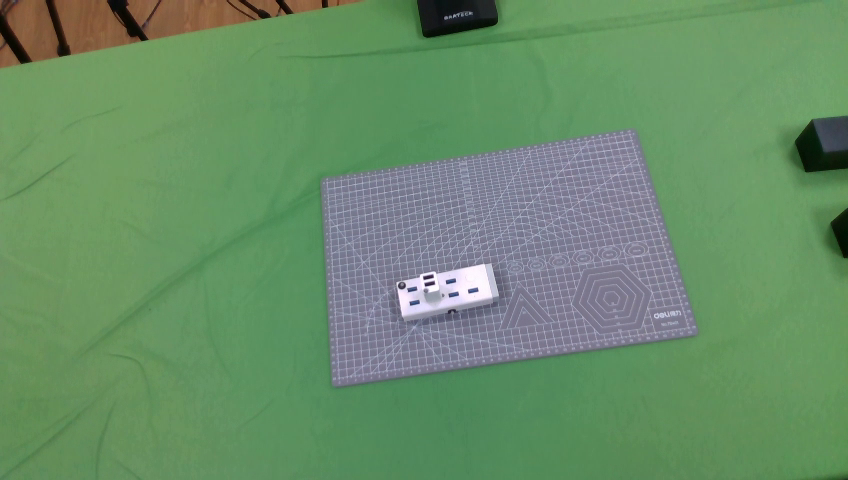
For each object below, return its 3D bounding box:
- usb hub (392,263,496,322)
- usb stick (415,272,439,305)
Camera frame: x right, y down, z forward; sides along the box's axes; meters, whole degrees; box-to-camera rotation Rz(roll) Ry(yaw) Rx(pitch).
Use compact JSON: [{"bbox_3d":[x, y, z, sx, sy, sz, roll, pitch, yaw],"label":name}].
[{"bbox_3d":[0.025,0.066,0.768,0.125,0.025,0.049,-12,65,0],"label":"usb hub"},{"bbox_3d":[0.005,0.062,0.740,0.021,0.059,0.027,-15,64,1],"label":"usb stick"}]
